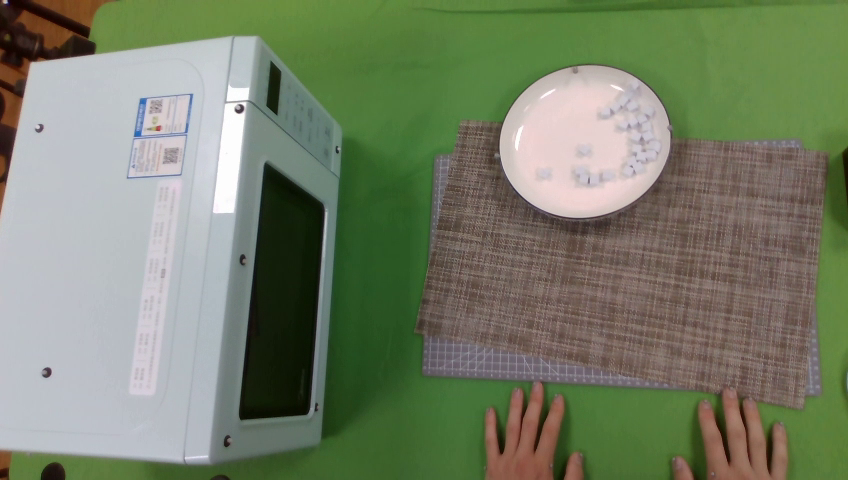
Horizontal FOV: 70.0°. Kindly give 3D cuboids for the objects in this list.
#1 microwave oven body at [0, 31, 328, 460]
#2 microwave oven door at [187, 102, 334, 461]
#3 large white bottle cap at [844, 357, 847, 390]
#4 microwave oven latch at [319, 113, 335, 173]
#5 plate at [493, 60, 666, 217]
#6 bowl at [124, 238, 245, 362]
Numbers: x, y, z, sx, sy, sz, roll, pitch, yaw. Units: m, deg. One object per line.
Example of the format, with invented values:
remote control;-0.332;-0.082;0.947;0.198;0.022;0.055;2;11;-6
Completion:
microwave oven body;-0.312;0.021;0.743;0.325;0.262;0.439;-2;77;14
microwave oven door;-0.173;0.056;0.694;0.039;0.245;0.354;-2;77;15
large white bottle cap;0.507;0.147;0.633;0.114;0.018;0.114;-3;77;13
microwave oven latch;-0.140;-0.134;0.836;0.030;0.030;0.079;-2;78;14
plate;0.193;-0.125;0.763;0.208;0.038;0.208;-4;75;14
bowl;-0.281;0.079;0.754;0.151;0.077;0.150;-3;76;13
